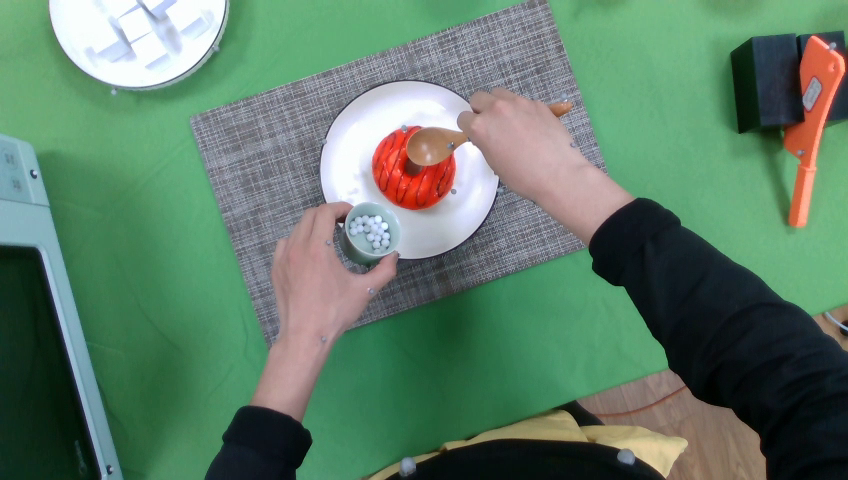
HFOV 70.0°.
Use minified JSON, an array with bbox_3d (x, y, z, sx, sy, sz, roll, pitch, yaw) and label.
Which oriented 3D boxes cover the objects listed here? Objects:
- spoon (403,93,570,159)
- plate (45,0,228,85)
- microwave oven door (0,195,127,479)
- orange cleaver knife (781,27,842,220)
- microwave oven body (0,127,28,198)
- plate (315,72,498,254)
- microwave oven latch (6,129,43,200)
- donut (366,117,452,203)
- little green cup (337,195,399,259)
[{"bbox_3d":[0.055,-0.112,0.597,0.193,0.021,0.042,-6,110,43],"label":"spoon"},{"bbox_3d":[-0.330,-0.282,0.710,0.208,0.039,0.207,0,89,0],"label":"plate"},{"bbox_3d":[-0.404,0.125,0.583,0.039,0.244,0.355,-17,89,0],"label":"microwave oven door"},{"bbox_3d":[0.426,-0.127,0.685,0.012,0.076,0.213,-4,118,2],"label":"orange cleaver knife"},{"bbox_3d":[-0.556,0.125,0.589,0.326,0.260,0.441,-16,90,-1],"label":"microwave oven body"},{"bbox_3d":[-0.020,-0.087,0.703,0.209,0.038,0.209,0,90,0],"label":"plate"},{"bbox_3d":[-0.463,-0.083,0.688,0.030,0.029,0.079,-15,90,-1],"label":"microwave oven latch"},{"bbox_3d":[-0.017,-0.091,0.692,0.099,0.048,0.099,0,92,1],"label":"donut"},{"bbox_3d":[-0.060,-0.012,0.625,0.062,0.039,0.061,11,54,-16],"label":"little green cup"}]
